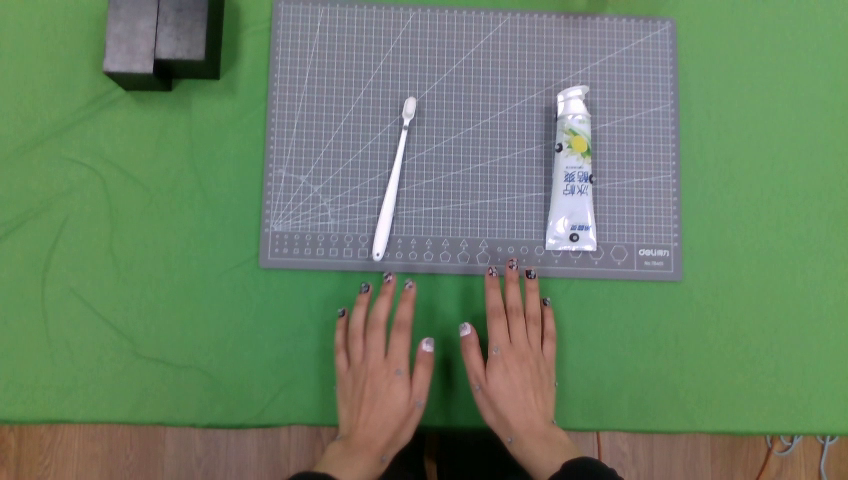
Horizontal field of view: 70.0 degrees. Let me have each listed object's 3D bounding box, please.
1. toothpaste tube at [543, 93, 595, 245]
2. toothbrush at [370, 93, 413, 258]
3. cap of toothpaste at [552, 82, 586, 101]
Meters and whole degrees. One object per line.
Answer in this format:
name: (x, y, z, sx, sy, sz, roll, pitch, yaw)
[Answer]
toothpaste tube: (0.155, -0.077, 0.648, 0.055, 0.034, 0.165, 0, 87, 5)
toothbrush: (-0.034, -0.070, 0.643, 0.014, 0.016, 0.181, 13, 85, -14)
cap of toothpaste: (0.157, -0.158, 0.651, 0.037, 0.037, 0.011, -11, 81, -4)
